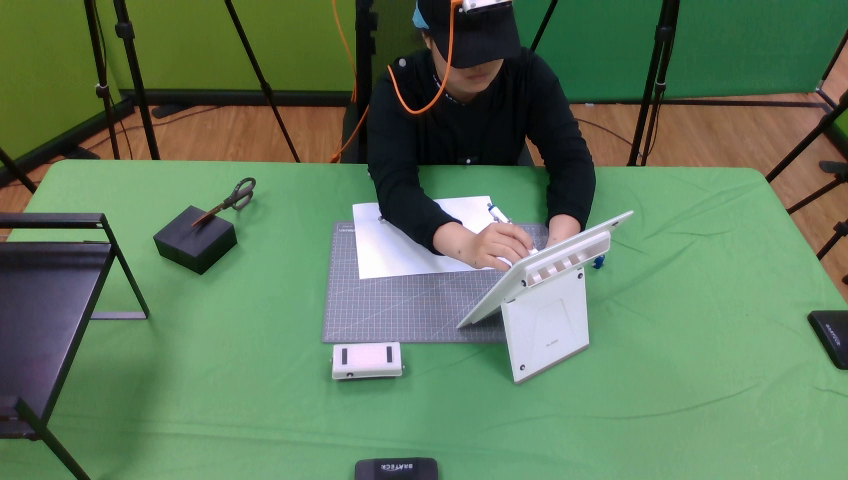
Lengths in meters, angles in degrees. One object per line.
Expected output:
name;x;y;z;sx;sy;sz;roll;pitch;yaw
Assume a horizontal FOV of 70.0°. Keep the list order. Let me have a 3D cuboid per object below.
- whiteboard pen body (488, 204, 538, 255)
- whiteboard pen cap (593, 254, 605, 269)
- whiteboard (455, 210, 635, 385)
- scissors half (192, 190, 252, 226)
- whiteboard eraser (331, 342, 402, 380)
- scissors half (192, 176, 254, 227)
whiteboard pen body;0.156;-0.005;0.997;0.017;0.017;0.140;-33;74;-30
whiteboard pen cap;0.340;0.041;1.179;0.018;0.033;0.018;2;46;-1
whiteboard;0.211;0.111;0.955;0.217;0.306;0.143;-20;71;-23
scissors half;-0.393;-0.060;1.187;0.013;0.040;0.175;26;30;11
whiteboard eraser;-0.094;0.198;0.986;0.113;0.042;0.055;-2;44;-6
scissors half;-0.388;-0.074;1.174;0.013;0.040;0.174;30;48;7
